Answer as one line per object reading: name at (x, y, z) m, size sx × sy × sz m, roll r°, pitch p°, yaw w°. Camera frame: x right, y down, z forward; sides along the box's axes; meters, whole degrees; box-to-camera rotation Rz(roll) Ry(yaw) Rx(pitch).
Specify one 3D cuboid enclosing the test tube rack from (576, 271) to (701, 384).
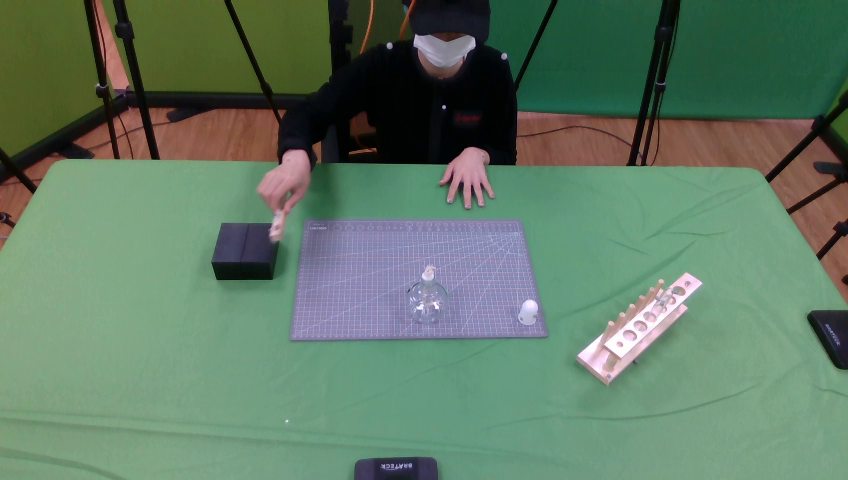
test tube rack at (0.373, 0.138, 1.047) m, size 0.242 × 0.085 × 0.066 m, roll -31°, pitch 56°, yaw -29°

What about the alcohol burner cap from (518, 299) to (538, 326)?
alcohol burner cap at (0.186, 0.126, 1.072) m, size 0.034 × 0.048 × 0.033 m, roll 1°, pitch 45°, yaw -1°

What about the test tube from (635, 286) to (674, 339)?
test tube at (0.375, 0.123, 0.994) m, size 0.017 × 0.151 × 0.017 m, roll 2°, pitch 52°, yaw -2°

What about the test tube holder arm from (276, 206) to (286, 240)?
test tube holder arm at (-0.253, -0.032, 1.074) m, size 0.010 × 0.015 × 0.087 m, roll 1°, pitch 37°, yaw -8°

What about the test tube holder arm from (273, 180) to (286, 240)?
test tube holder arm at (-0.264, -0.059, 1.109) m, size 0.013 × 0.015 × 0.177 m, roll 0°, pitch 38°, yaw -9°

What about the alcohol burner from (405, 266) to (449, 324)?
alcohol burner at (0.005, 0.089, 1.043) m, size 0.078 × 0.120 × 0.077 m, roll 1°, pitch 45°, yaw -1°
